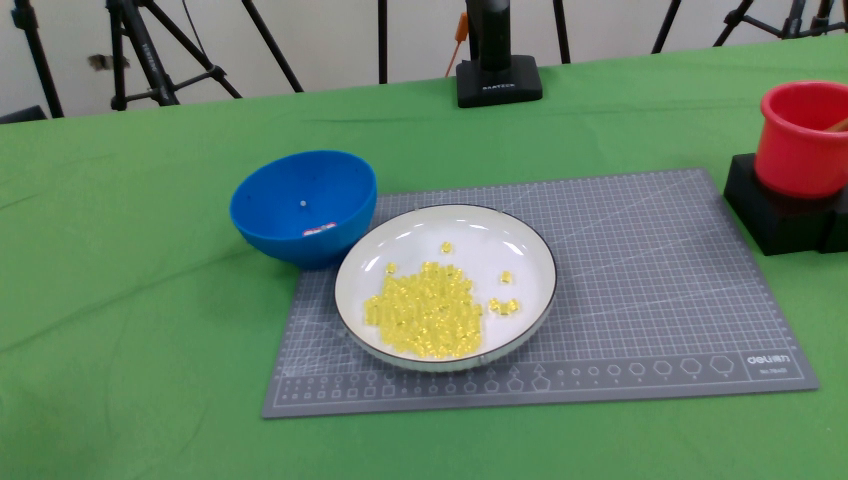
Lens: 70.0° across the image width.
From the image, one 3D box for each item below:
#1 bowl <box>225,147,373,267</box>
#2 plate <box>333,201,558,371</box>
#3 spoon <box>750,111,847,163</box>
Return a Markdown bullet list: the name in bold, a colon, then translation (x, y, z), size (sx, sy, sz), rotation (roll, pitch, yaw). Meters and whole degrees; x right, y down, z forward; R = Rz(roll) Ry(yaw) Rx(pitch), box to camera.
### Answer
- **bowl**: translation (-0.122, -0.025, 0.638), size (0.151, 0.077, 0.150), rotation (-5, 42, 5)
- **plate**: translation (0.020, 0.041, 0.572), size (0.207, 0.039, 0.205), rotation (-5, 42, 5)
- **spoon**: translation (0.382, -0.112, 0.526), size (0.193, 0.022, 0.041), rotation (-32, 14, 48)
